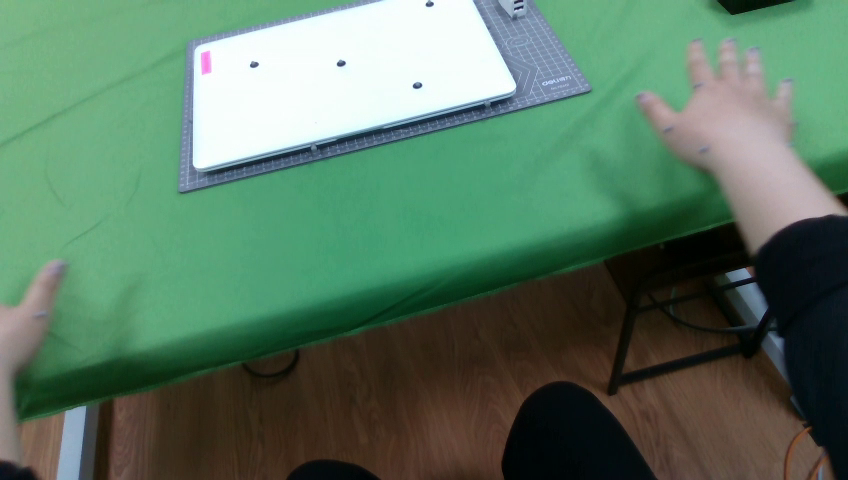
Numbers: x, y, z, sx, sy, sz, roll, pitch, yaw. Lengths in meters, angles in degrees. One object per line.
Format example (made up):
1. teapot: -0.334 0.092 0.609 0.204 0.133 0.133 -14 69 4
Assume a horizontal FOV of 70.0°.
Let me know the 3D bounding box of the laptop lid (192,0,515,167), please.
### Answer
1. laptop lid: -0.096 -0.206 0.702 0.357 0.013 0.239 -14 53 -2

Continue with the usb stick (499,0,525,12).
1. usb stick: 0.106 -0.312 0.761 0.021 0.027 0.058 -19 48 -5

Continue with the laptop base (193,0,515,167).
1. laptop base: -0.095 -0.201 0.712 0.354 0.023 0.233 -15 54 -3
